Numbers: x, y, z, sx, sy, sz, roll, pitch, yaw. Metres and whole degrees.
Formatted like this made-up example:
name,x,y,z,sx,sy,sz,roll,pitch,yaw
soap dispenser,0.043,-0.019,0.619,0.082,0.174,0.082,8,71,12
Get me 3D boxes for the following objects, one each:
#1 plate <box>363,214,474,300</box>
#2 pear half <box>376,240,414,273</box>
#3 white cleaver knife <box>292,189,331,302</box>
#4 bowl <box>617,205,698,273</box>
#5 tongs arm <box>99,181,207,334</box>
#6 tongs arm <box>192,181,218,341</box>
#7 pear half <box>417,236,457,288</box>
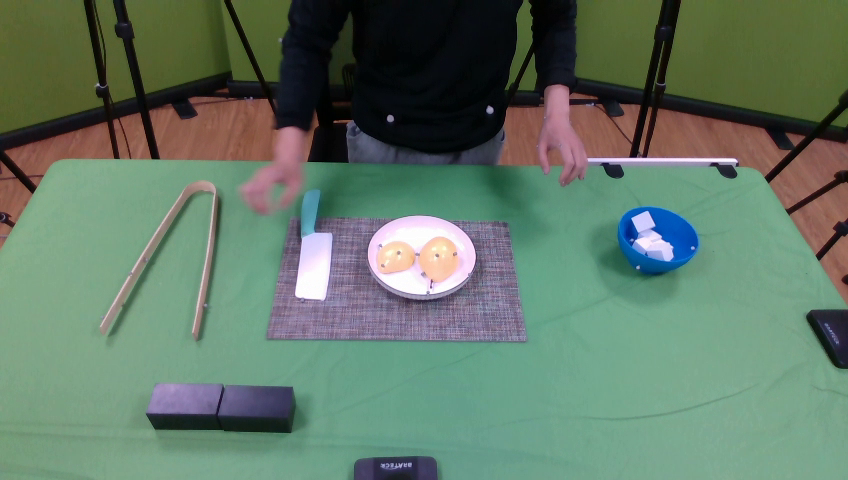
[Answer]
name,x,y,z,sx,sy,sz,roll,pitch,yaw
plate,-0.010,0.036,1.146,0.208,0.039,0.206,2,46,-2
pear half,-0.058,0.026,1.146,0.070,0.031,0.088,22,44,22
white cleaver knife,-0.215,0.006,1.178,0.066,0.021,0.284,5,49,-12
bowl,0.442,0.010,1.181,0.151,0.077,0.150,2,46,-2
tongs arm,-0.494,0.018,1.132,0.051,0.026,0.382,7,45,0
tongs arm,-0.413,0.025,1.140,0.028,0.028,0.385,-5,47,-7
pear half,0.022,0.039,1.127,0.076,0.056,0.109,6,50,7
